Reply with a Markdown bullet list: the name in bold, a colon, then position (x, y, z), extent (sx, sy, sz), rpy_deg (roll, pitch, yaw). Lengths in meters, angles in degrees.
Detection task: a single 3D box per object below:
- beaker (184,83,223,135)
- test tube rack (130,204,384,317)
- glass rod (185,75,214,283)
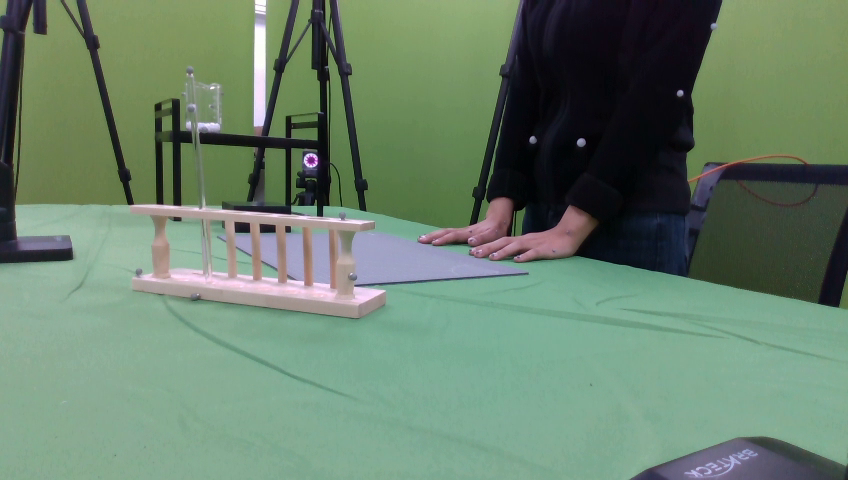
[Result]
- **beaker**: position (-0.456, -0.271, 1.256), extent (0.074, 0.100, 0.083), rpy_deg (-3, 9, -33)
- **test tube rack**: position (-0.163, 0.013, 0.589), extent (0.242, 0.085, 0.067), rpy_deg (4, 8, 17)
- **glass rod**: position (-0.210, -0.052, 0.568), extent (0.008, 0.199, 0.008), rpy_deg (-1, 14, 0)
